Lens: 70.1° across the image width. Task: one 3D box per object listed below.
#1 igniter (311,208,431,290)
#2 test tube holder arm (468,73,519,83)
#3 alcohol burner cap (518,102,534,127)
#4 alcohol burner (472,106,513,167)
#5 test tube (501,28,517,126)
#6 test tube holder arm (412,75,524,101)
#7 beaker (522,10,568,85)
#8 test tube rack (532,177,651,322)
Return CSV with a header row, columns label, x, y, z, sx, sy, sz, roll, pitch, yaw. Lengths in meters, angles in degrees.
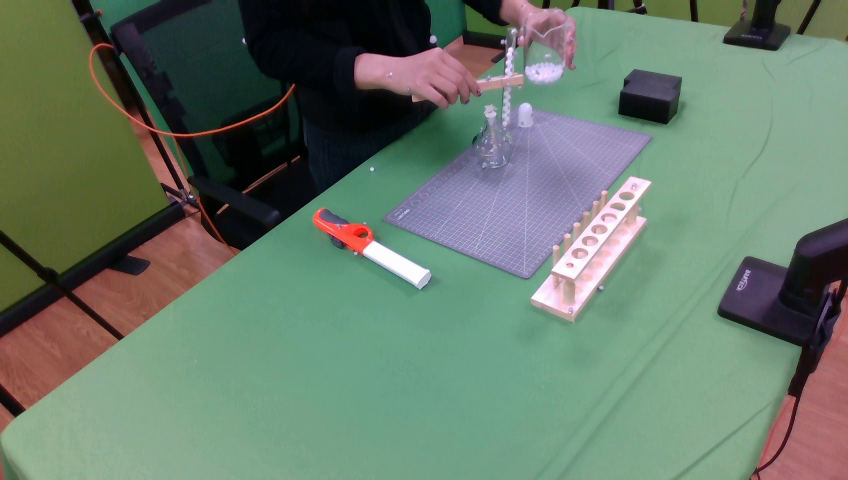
label,x,y,z,sx,sy,sz,roll,pitch,yaw
igniter,-0.096,0.008,0.985,0.274,0.025,0.057,29,63,36
test tube holder arm,0.109,-0.246,0.941,0.088,0.015,0.010,-16,27,-20
alcohol burner cap,0.205,-0.255,1.223,0.034,0.048,0.033,-6,41,6
alcohol burner,0.126,-0.194,1.111,0.078,0.119,0.077,-5,42,5
test tube,0.132,-0.252,0.942,0.017,0.150,0.017,0,26,0
test tube holder arm,0.068,-0.233,0.924,0.179,0.015,0.013,-13,25,-13
beaker,0.201,-0.316,1.006,0.074,0.101,0.084,3,45,14
test tube rack,0.248,0.002,0.883,0.066,0.085,0.243,22,49,32
